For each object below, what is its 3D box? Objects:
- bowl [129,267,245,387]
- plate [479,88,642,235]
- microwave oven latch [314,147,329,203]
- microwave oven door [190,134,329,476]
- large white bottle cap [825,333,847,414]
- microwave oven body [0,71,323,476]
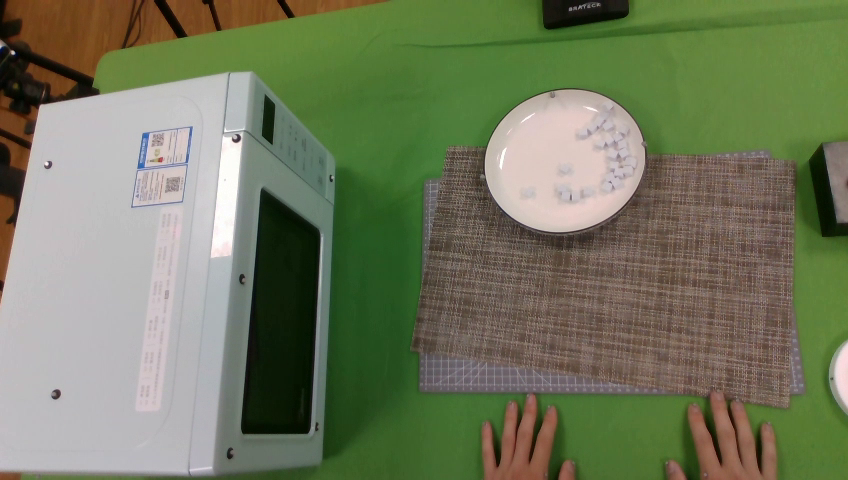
[{"bbox_3d":[-0.289,0.117,0.781,0.151,0.077,0.150,-4,72,14],"label":"bowl"},{"bbox_3d":[0.178,-0.102,0.804,0.208,0.038,0.208,-5,71,14],"label":"plate"},{"bbox_3d":[-0.154,-0.093,0.879,0.030,0.030,0.078,-5,73,14],"label":"microwave oven latch"},{"bbox_3d":[-0.181,0.086,0.722,0.039,0.246,0.353,-5,72,14],"label":"microwave oven door"},{"bbox_3d":[0.501,0.148,0.654,0.114,0.018,0.114,-4,73,13],"label":"large white bottle cap"},{"bbox_3d":[-0.321,0.060,0.774,0.325,0.262,0.439,-5,73,13],"label":"microwave oven body"}]
